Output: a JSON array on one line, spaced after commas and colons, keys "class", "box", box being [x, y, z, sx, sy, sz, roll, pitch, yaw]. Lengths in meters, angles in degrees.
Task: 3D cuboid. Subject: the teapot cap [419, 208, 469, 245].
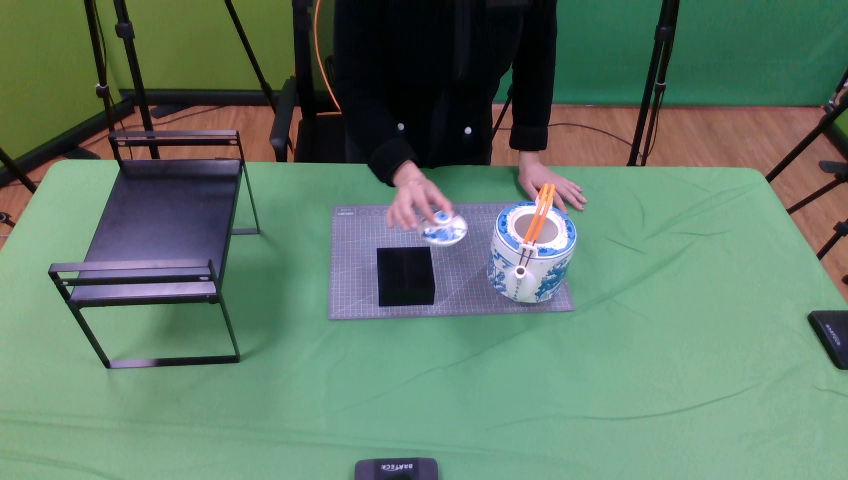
[{"class": "teapot cap", "box": [0.034, -0.028, 1.027, 0.085, 0.044, 0.084, 2, 47, -2]}]

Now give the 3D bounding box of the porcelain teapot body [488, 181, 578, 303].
[{"class": "porcelain teapot body", "box": [0.185, 0.018, 1.048, 0.145, 0.226, 0.204, 15, 48, 10]}]
